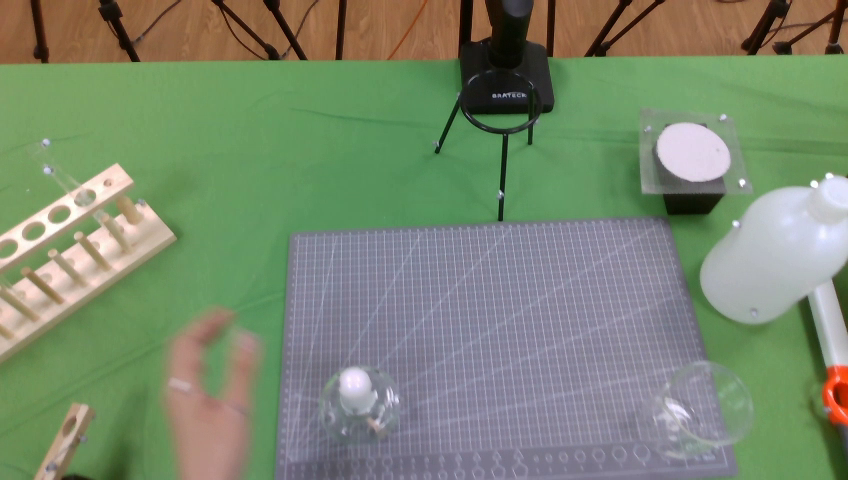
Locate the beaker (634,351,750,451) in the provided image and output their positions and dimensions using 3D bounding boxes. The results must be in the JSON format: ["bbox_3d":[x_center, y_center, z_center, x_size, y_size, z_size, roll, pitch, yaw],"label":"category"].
[{"bbox_3d":[0.243,0.156,0.572,0.084,0.101,0.073,2,61,2],"label":"beaker"}]

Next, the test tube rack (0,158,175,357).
[{"bbox_3d":[-0.399,0.025,0.639,0.242,0.086,0.066,-40,70,-20],"label":"test tube rack"}]

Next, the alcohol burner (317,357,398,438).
[{"bbox_3d":[-0.063,0.142,0.565,0.078,0.120,0.077,1,61,-2],"label":"alcohol burner"}]

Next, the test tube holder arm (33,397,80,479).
[{"bbox_3d":[-0.328,0.185,0.541,0.010,0.015,0.087,7,63,11],"label":"test tube holder arm"}]

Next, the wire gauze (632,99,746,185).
[{"bbox_3d":[0.308,-0.115,0.715,0.121,0.011,0.124,4,62,1],"label":"wire gauze"}]

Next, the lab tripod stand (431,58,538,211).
[{"bbox_3d":[0.078,-0.128,0.702,0.148,0.132,0.147,1,63,-2],"label":"lab tripod stand"}]

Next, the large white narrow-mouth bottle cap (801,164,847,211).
[{"bbox_3d":[0.355,-0.046,0.532,0.038,0.024,0.037,1,62,-1],"label":"large white narrow-mouth bottle cap"}]

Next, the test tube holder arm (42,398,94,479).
[{"bbox_3d":[-0.331,0.225,0.520,0.013,0.015,0.177,7,63,11],"label":"test tube holder arm"}]

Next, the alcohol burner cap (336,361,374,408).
[{"bbox_3d":[-0.062,0.126,0.533,0.034,0.048,0.033,0,57,1],"label":"alcohol burner cap"}]

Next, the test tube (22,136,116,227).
[{"bbox_3d":[-0.361,-0.055,0.626,0.017,0.151,0.017,-1,61,3],"label":"test tube"}]

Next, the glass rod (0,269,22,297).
[{"bbox_3d":[-0.432,0.001,0.576,0.008,0.201,0.008,2,53,-3],"label":"glass rod"}]

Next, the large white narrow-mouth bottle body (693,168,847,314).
[{"bbox_3d":[0.354,-0.004,0.607,0.102,0.196,0.101,0,61,0],"label":"large white narrow-mouth bottle body"}]

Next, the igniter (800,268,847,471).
[{"bbox_3d":[0.431,0.133,0.631,0.057,0.025,0.274,8,61,-9],"label":"igniter"}]
